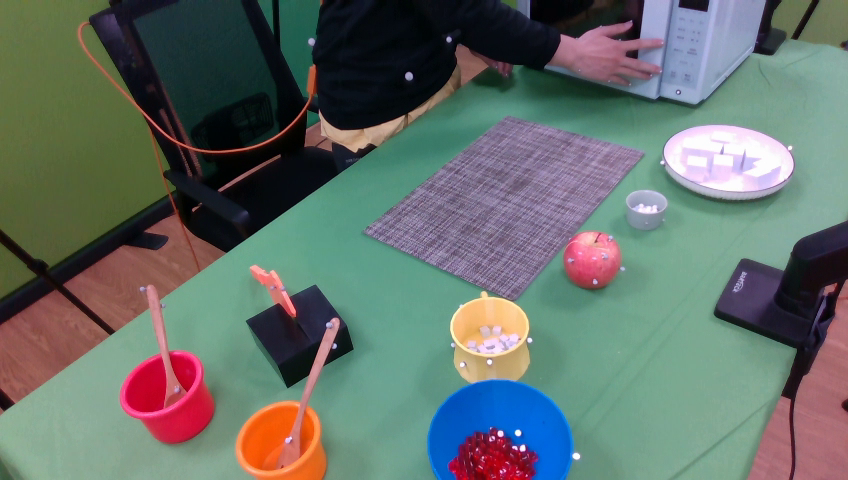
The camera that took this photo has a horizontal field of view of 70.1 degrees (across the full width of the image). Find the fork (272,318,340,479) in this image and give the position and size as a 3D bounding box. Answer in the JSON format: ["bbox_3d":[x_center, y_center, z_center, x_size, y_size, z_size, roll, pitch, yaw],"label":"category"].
[{"bbox_3d":[-0.132,0.186,0.676,0.028,0.019,0.207,17,90,28],"label":"fork"}]

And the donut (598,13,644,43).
[{"bbox_3d":[0.438,-0.473,1.346,0.099,0.048,0.099,-19,21,8],"label":"donut"}]

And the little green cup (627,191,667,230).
[{"bbox_3d":[0.352,-0.046,0.963,0.061,0.039,0.061,-4,40,4],"label":"little green cup"}]

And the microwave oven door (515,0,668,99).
[{"bbox_3d":[0.337,-0.450,1.255,0.353,0.245,0.039,29,53,35],"label":"microwave oven door"}]

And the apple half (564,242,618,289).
[{"bbox_3d":[0.229,0.044,0.848,0.081,0.081,0.033,16,41,26],"label":"apple half"}]

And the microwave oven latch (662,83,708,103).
[{"bbox_3d":[0.518,-0.296,1.204,0.078,0.029,0.030,28,52,35],"label":"microwave oven latch"}]

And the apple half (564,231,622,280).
[{"bbox_3d":[0.248,0.021,0.874,0.080,0.075,0.053,13,40,29],"label":"apple half"}]

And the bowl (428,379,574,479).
[{"bbox_3d":[0.082,0.233,0.644,0.151,0.077,0.150,-4,39,4],"label":"bowl"}]

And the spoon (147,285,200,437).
[{"bbox_3d":[-0.318,0.148,0.754,0.042,0.021,0.193,-14,85,-11],"label":"spoon"}]

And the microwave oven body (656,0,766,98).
[{"bbox_3d":[0.472,-0.513,1.317,0.438,0.261,0.327,26,51,34],"label":"microwave oven body"}]

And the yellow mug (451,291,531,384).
[{"bbox_3d":[0.085,0.120,0.786,0.100,0.064,0.130,-7,39,1],"label":"yellow mug"}]

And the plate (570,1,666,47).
[{"bbox_3d":[0.437,-0.485,1.369,0.209,0.038,0.208,-4,41,4],"label":"plate"}]

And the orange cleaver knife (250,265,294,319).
[{"bbox_3d":[-0.221,0.073,0.876,0.012,0.077,0.210,-24,13,-22],"label":"orange cleaver knife"}]

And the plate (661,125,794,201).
[{"bbox_3d":[0.514,-0.128,1.035,0.207,0.039,0.206,-4,40,4],"label":"plate"}]
